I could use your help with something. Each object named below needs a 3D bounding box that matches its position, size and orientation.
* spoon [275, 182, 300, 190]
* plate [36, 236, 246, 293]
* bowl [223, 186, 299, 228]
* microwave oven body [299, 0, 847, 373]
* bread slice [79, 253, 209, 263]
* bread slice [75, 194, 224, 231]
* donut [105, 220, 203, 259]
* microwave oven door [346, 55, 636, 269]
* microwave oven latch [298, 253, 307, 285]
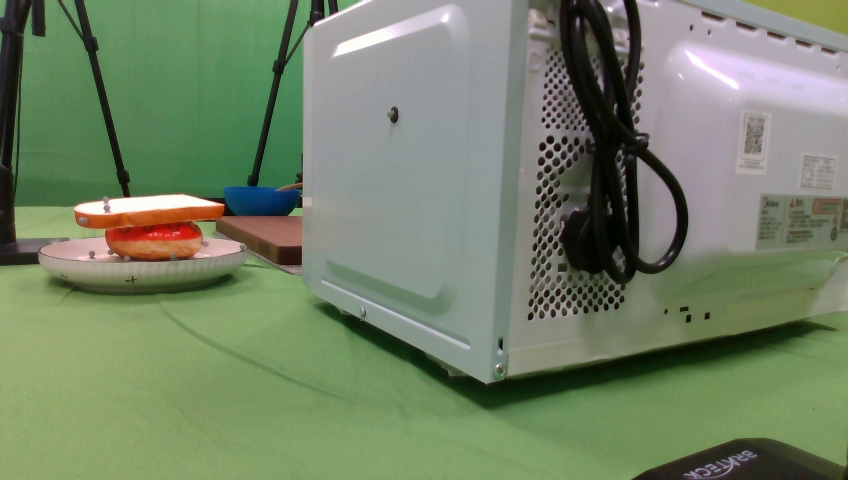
[{"bbox_3d":[-0.300,-0.103,1.266,0.194,0.021,0.041,-23,10,-24],"label":"spoon"},{"bbox_3d":[-0.305,0.026,0.669,0.208,0.039,0.207,2,7,0],"label":"plate"},{"bbox_3d":[-0.330,-0.068,1.231,0.151,0.077,0.151,3,7,0],"label":"bowl"},{"bbox_3d":[0.151,-0.055,0.543,0.444,0.260,0.324,-2,7,-33],"label":"microwave oven body"},{"bbox_3d":[-0.302,0.027,0.662,0.132,0.019,0.104,-4,8,-45],"label":"bread slice"},{"bbox_3d":[-0.301,-0.032,0.659,0.106,0.018,0.135,10,17,41],"label":"bread slice"},{"bbox_3d":[-0.298,-0.003,0.670,0.099,0.048,0.099,4,-2,0],"label":"donut"},{"bbox_3d":[0.088,-0.087,0.739,0.357,0.243,0.039,1,8,-14],"label":"microwave oven door"},{"bbox_3d":[-0.081,0.027,0.582,0.079,0.029,0.030,-1,7,-32],"label":"microwave oven latch"}]
